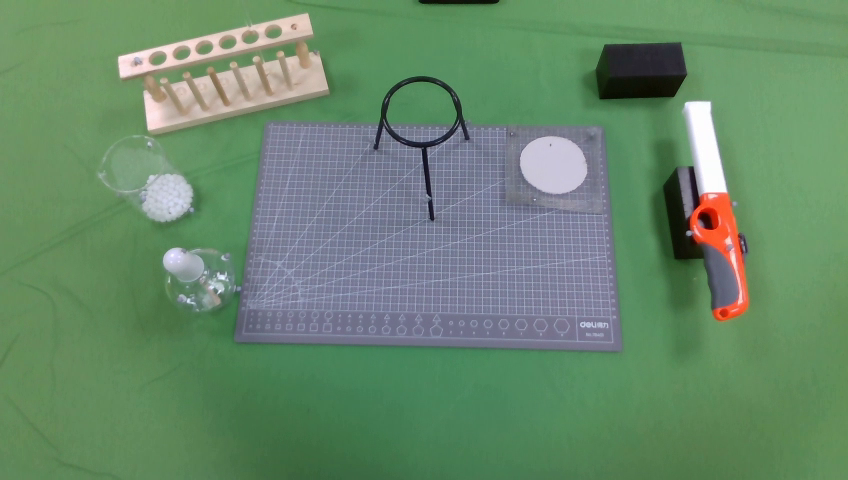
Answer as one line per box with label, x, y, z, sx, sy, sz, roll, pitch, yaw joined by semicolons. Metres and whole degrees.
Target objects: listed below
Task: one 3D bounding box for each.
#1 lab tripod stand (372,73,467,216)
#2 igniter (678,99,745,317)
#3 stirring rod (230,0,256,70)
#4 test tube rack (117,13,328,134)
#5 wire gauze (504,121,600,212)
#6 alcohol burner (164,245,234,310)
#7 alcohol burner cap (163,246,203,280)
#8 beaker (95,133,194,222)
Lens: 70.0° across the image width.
lab tripod stand;-0.002;-0.120;0.722;0.148;0.132;0.147;0;70;0
igniter;0.328;-0.044;0.697;0.057;0.025;0.274;0;67;4
stirring rod;-0.223;-0.275;0.729;0.014;0.177;0.005;8;57;4
test tube rack;-0.258;-0.216;0.792;0.242;0.086;0.066;-15;70;-4
wire gauze;0.165;-0.098;0.777;0.125;0.011;0.120;6;69;1
alcohol burner;-0.259;0.036;0.683;0.078;0.120;0.077;0;67;0
alcohol burner cap;-0.261;0.022;0.649;0.034;0.048;0.033;0;72;1
beaker;-0.331;-0.070;0.731;0.084;0.101;0.073;-12;69;-3
